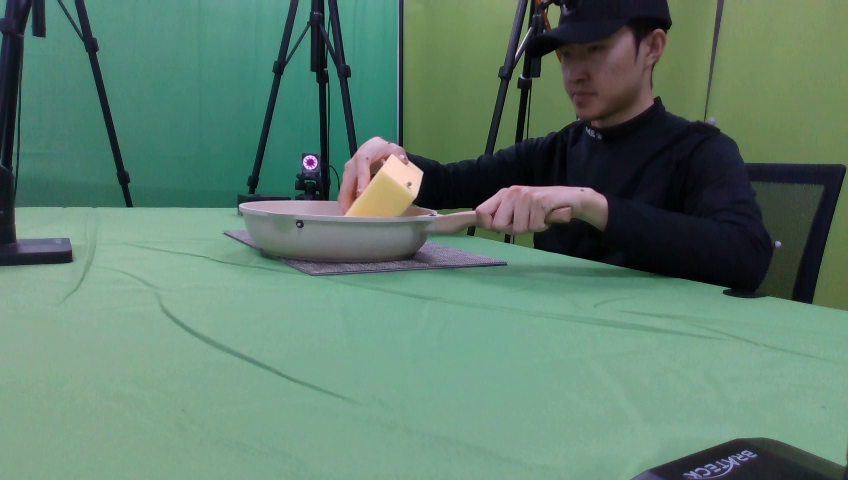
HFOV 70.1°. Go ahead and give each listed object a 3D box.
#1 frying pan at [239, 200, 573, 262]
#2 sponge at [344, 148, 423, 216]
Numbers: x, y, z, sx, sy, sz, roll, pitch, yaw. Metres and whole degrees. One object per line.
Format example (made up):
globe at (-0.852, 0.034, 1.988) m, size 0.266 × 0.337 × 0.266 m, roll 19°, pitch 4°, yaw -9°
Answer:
frying pan at (-0.033, -0.026, 0.867) m, size 0.486 × 0.102 × 0.308 m, roll -3°, pitch 5°, yaw 25°
sponge at (-0.063, -0.060, 0.898) m, size 0.061 × 0.118 × 0.206 m, roll 37°, pitch 14°, yaw -8°
